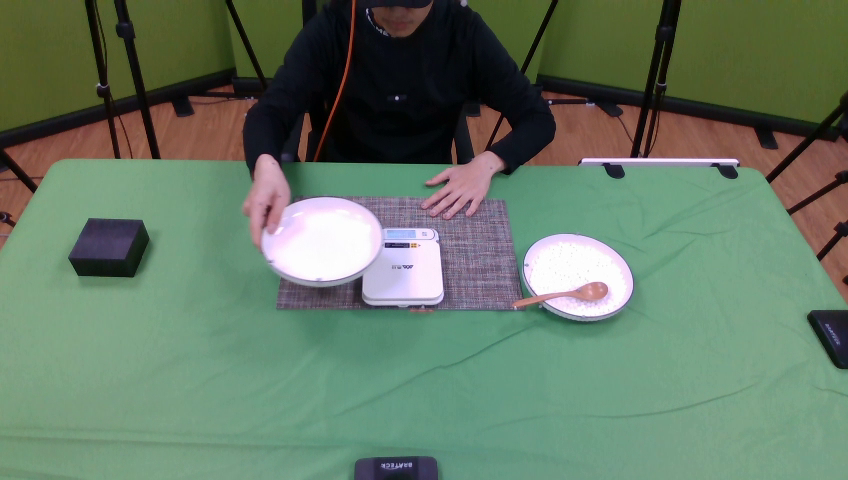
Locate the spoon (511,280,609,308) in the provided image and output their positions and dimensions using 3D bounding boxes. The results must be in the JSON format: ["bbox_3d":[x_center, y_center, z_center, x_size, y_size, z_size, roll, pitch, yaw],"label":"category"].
[{"bbox_3d":[0.245,0.098,1.088,0.194,0.022,0.041,-5,47,-19],"label":"spoon"}]

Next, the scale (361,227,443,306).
[{"bbox_3d":[-0.042,0.040,1.143,0.149,0.032,0.199,0,46,-4],"label":"scale"}]

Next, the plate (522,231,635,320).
[{"bbox_3d":[0.287,0.069,1.141,0.209,0.038,0.208,2,46,-2],"label":"plate"}]

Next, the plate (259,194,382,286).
[{"bbox_3d":[-0.176,0.004,1.046,0.208,0.039,0.206,2,46,-2],"label":"plate"}]
